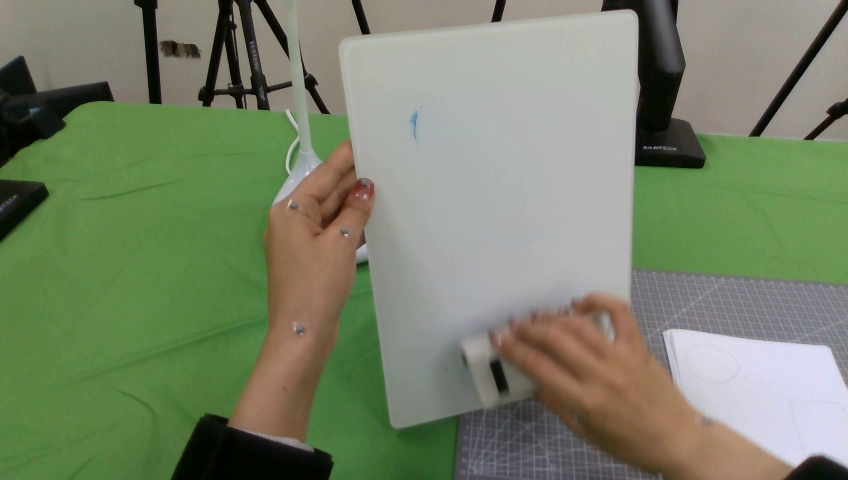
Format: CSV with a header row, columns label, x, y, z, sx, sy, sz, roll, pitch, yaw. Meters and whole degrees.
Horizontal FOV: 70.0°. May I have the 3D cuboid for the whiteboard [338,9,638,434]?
label,x,y,z,sx,sy,sz,roll,pitch,yaw
whiteboard,0.047,-0.025,0.522,0.218,0.307,0.142,-10,21,-11

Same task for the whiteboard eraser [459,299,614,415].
label,x,y,z,sx,sy,sz,roll,pitch,yaw
whiteboard eraser,0.087,0.089,0.472,0.113,0.056,0.041,-21,19,-5

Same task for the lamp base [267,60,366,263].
label,x,y,z,sx,sy,sz,roll,pitch,yaw
lamp base,-0.108,-0.093,0.659,0.161,0.182,0.177,-29,45,-31
